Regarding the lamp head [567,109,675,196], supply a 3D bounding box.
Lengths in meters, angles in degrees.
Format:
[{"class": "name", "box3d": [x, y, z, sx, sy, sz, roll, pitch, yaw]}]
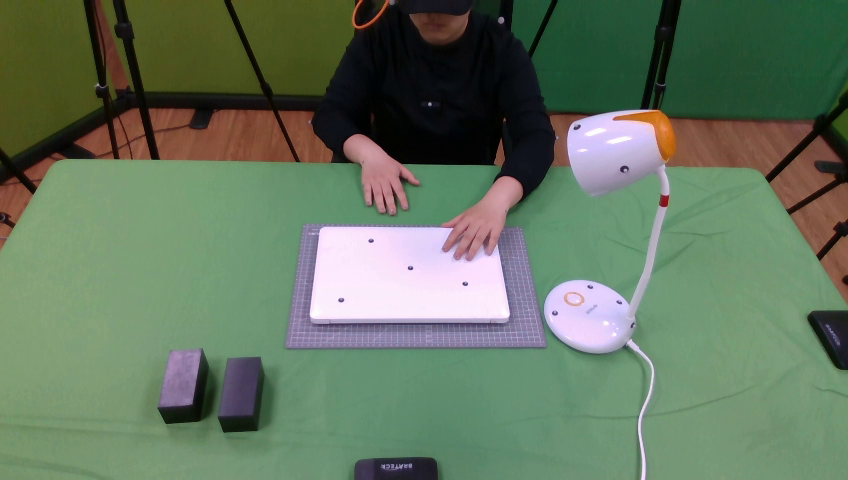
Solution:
[{"class": "lamp head", "box3d": [0.272, -0.123, 0.818, 0.122, 0.113, 0.112, -9, 35, 37]}]

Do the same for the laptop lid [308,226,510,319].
[{"class": "laptop lid", "box3d": [-0.028, 0.055, 1.129, 0.357, 0.013, 0.240, 2, 44, -3]}]

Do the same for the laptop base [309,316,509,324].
[{"class": "laptop base", "box3d": [-0.028, 0.065, 1.136, 0.355, 0.023, 0.234, 0, 43, -4]}]

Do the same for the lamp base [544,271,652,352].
[{"class": "lamp base", "box3d": [0.310, 0.086, 1.029, 0.178, 0.181, 0.160, 32, 52, 21]}]
